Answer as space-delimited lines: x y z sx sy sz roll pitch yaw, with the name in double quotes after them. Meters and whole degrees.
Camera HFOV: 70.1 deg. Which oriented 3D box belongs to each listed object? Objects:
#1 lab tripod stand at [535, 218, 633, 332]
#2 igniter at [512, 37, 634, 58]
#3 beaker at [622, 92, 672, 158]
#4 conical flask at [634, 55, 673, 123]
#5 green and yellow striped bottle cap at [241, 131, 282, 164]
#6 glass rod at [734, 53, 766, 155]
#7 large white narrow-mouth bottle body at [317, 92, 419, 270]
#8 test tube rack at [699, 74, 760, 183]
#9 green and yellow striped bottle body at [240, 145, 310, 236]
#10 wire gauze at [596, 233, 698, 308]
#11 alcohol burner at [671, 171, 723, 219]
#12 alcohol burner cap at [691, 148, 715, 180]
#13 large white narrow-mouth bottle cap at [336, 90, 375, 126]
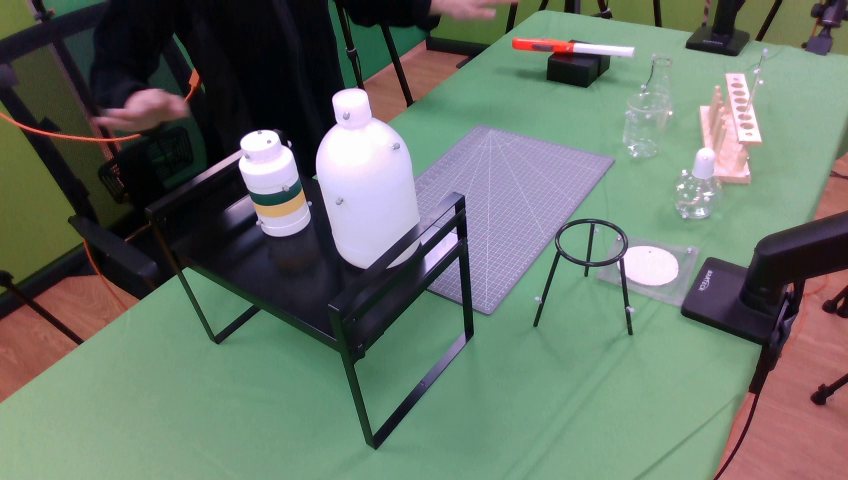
0.215 0.050 0.803 0.148 0.132 0.147 -4 43 4 "lab tripod stand"
0.328 -0.433 1.360 0.275 0.025 0.057 12 33 20 "igniter"
0.402 -0.210 1.106 0.074 0.101 0.083 -8 40 -2 "beaker"
0.456 -0.297 1.182 0.075 0.122 0.075 -4 41 4 "conical flask"
-0.187 -0.107 0.695 0.045 0.020 0.045 -3 39 3 "green and yellow striped bottle cap"
0.540 -0.220 1.007 0.008 0.201 0.008 -5 45 6 "glass rod"
-0.062 -0.065 0.653 0.102 0.195 0.101 -3 41 3 "large white narrow-mouth bottle body"
0.547 -0.208 1.095 0.066 0.085 0.242 6 42 16 "test tube rack"
-0.181 -0.069 0.729 0.063 0.120 0.063 -4 40 4 "green and yellow striped bottle body"
0.331 0.038 0.897 0.124 0.011 0.121 18 47 26 "wire gauze"
0.434 -0.093 0.955 0.078 0.119 0.077 -3 43 3 "alcohol burner"
0.432 -0.120 0.930 0.034 0.048 0.033 -7 48 8 "alcohol burner cap"
-0.068 -0.130 0.595 0.038 0.024 0.037 -3 41 3 "large white narrow-mouth bottle cap"
